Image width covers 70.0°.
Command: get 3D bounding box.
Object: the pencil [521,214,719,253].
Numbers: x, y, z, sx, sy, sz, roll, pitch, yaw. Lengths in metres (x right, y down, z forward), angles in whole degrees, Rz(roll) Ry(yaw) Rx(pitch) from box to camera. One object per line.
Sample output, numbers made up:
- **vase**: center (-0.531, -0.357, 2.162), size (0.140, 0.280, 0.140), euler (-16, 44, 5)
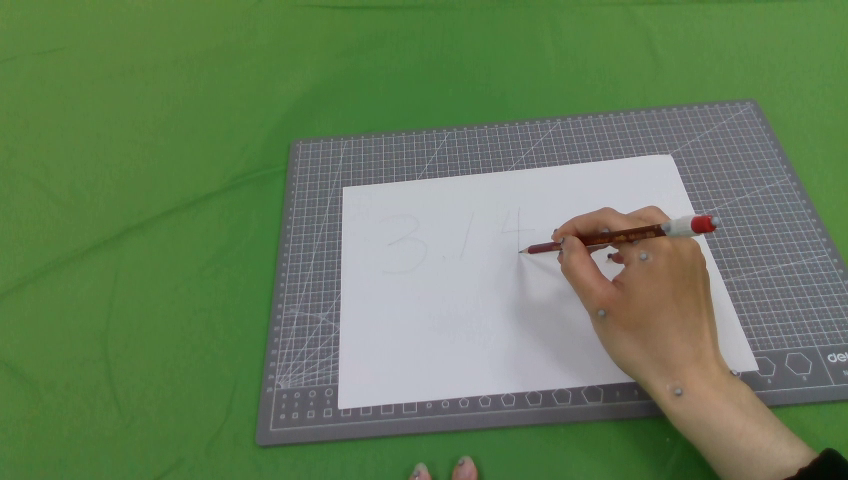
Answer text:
- **pencil**: center (0.115, 0.000, 0.404), size (0.012, 0.193, 0.012), euler (2, 84, -22)
